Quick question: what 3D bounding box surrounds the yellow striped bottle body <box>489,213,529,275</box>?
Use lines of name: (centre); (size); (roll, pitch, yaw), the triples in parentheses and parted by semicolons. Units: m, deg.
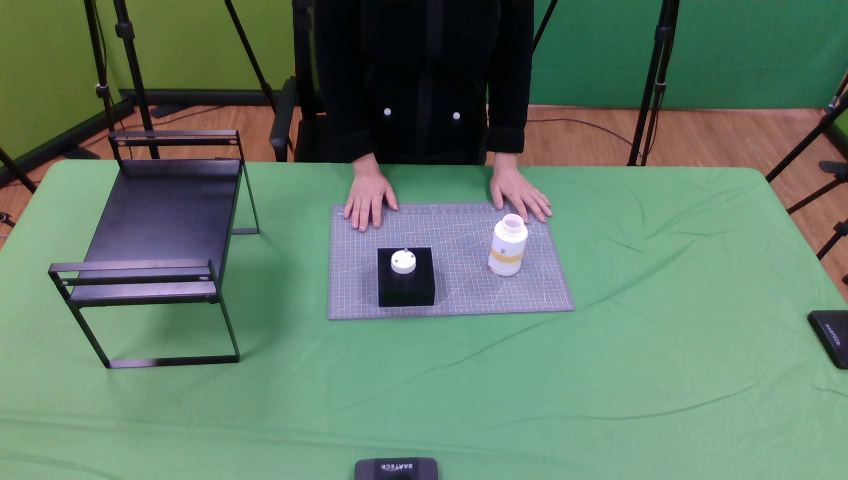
yellow striped bottle body: (0.159, 0.005, 1.130); (0.063, 0.121, 0.062); (2, 46, -2)

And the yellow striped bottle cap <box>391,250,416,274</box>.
yellow striped bottle cap: (-0.037, 0.039, 1.087); (0.044, 0.019, 0.044); (1, 44, -1)
